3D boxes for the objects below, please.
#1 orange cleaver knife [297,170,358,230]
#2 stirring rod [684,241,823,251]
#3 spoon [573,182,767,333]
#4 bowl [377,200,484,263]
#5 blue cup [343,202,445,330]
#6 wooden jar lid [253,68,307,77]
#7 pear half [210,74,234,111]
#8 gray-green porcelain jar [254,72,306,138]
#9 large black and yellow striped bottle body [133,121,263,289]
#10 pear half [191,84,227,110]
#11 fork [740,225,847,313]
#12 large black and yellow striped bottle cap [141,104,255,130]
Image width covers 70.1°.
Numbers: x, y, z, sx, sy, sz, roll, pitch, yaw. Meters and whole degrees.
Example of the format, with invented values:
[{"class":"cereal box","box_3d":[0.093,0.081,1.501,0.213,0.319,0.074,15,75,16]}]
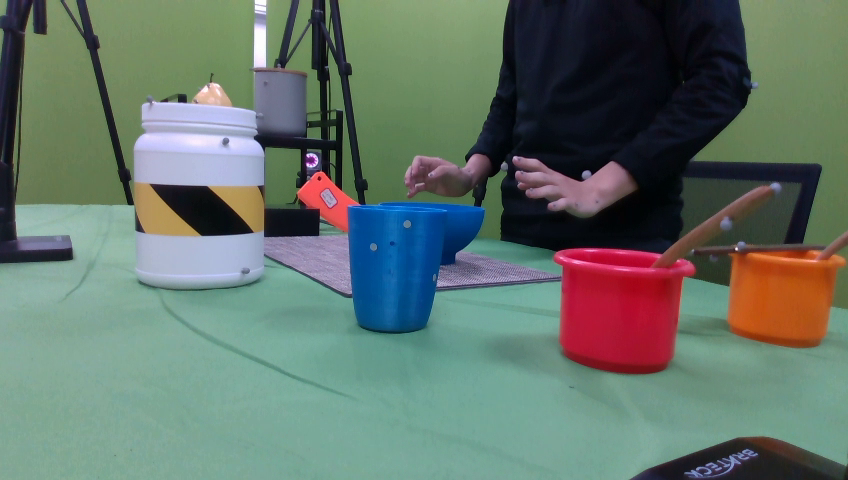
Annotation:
[{"class":"orange cleaver knife","box_3d":[-0.149,-0.058,1.170,0.212,0.077,0.012,33,-15,-32]},{"class":"stirring rod","box_3d":[0.289,0.005,0.525,0.177,0.006,0.014,-1,5,-26]},{"class":"spoon","box_3d":[0.158,0.020,0.412,0.042,0.021,0.193,-2,-35,-21]},{"class":"bowl","box_3d":[0.008,-0.012,0.842,0.151,0.077,0.151,3,7,0]},{"class":"blue cup","box_3d":[-0.027,0.021,0.510,0.093,0.100,0.092,3,5,0]},{"class":"wooden jar lid","box_3d":[-0.296,-0.339,1.250,0.108,0.020,0.108,3,10,0]},{"class":"pear half","box_3d":[-0.401,-0.262,1.162,0.076,0.109,0.056,7,7,2]},{"class":"gray-green porcelain jar","box_3d":[-0.299,-0.277,1.257,0.106,0.126,0.106,2,8,0]},{"class":"large black and yellow striped bottle body","box_3d":[-0.243,-0.048,0.659,0.131,0.184,0.130,2,7,0]},{"class":"pear half","box_3d":[-0.405,-0.248,1.129,0.070,0.088,0.031,6,6,2]},{"class":"fork","box_3d":[0.323,0.013,0.485,0.028,0.018,0.207,8,-37,-5]},{"class":"large black and yellow striped bottle cap","box_3d":[-0.241,-0.131,0.650,0.115,0.019,0.115,3,8,0]}]
